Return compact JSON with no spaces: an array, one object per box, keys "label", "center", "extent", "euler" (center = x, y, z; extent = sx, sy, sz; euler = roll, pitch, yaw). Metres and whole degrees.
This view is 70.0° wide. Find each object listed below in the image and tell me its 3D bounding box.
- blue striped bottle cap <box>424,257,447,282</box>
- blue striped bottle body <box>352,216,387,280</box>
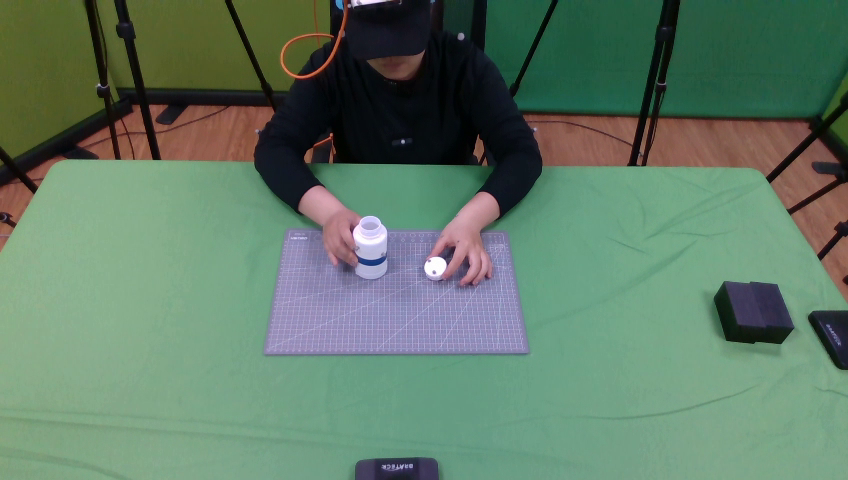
[{"label":"blue striped bottle cap","center":[0.022,0.055,1.141],"extent":[0.044,0.021,0.044],"euler":[-3,58,5]},{"label":"blue striped bottle body","center":[-0.099,0.011,1.108],"extent":[0.063,0.121,0.062],"euler":[2,46,-2]}]
